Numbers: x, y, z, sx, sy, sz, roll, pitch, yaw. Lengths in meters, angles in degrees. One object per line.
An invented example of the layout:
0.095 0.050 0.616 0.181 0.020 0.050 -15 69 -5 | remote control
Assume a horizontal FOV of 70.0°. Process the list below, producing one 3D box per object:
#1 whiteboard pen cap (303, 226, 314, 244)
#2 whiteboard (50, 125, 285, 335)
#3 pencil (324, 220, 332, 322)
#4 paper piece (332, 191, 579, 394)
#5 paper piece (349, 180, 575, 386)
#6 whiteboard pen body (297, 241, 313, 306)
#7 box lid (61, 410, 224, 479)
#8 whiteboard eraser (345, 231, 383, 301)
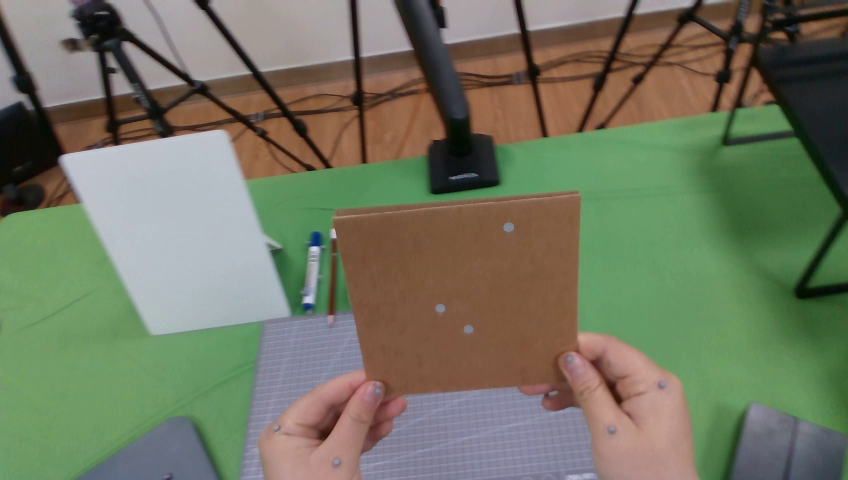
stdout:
-0.186 -0.006 0.977 0.018 0.018 0.033 -8 51 4 | whiteboard pen cap
-0.336 -0.035 0.883 0.217 0.308 0.142 -8 33 5 | whiteboard
-0.148 0.044 0.938 0.012 0.012 0.192 -10 52 3 | pencil
0.023 0.038 0.357 0.135 0.137 0.004 -4 30 2 | paper piece
0.024 0.029 0.374 0.135 0.139 0.008 3 28 20 | paper piece
-0.184 0.040 0.943 0.017 0.017 0.139 -7 52 5 | whiteboard pen body
-0.331 0.399 0.701 0.263 0.015 0.367 -33 55 -15 | box lid
-0.090 0.039 0.913 0.055 0.042 0.111 -9 53 5 | whiteboard eraser
